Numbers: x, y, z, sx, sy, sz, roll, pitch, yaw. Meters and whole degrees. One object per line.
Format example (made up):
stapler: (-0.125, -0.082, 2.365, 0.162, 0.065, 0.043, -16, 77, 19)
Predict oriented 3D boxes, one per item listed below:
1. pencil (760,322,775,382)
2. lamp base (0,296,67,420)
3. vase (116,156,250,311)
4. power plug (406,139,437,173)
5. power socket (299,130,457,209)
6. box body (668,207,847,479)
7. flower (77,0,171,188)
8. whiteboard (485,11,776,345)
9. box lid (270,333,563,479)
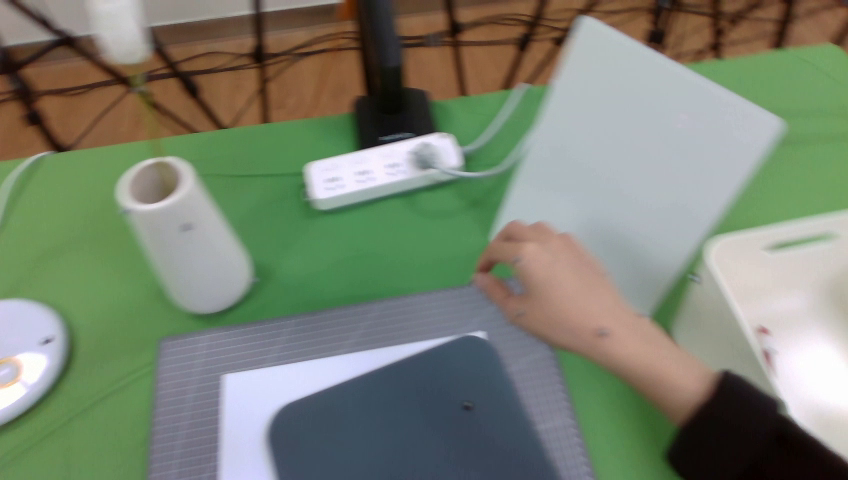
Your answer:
pencil: (0.371, 0.177, 0.642, 0.012, 0.012, 0.192, 7, 59, 7)
lamp base: (-0.506, 0.088, 0.630, 0.178, 0.182, 0.160, 17, 57, 17)
vase: (-0.265, -0.002, 0.674, 0.098, 0.202, 0.097, -2, 55, 3)
power plug: (-0.004, -0.102, 0.808, 0.035, 0.053, 0.072, -6, 57, -2)
power socket: (-0.061, -0.099, 0.835, 0.227, 0.033, 0.071, -14, 57, -8)
box body: (0.423, 0.162, 0.564, 0.254, 0.162, 0.360, -10, 56, -6)
flower: (-0.264, -0.064, 0.617, 0.038, 0.365, 0.043, -19, 39, -19)
whiteboard: (0.232, -0.075, 0.683, 0.144, 0.307, 0.215, -28, 57, -38)
box lid: (0.016, 0.279, 0.586, 0.263, 0.015, 0.367, -19, 58, -12)
